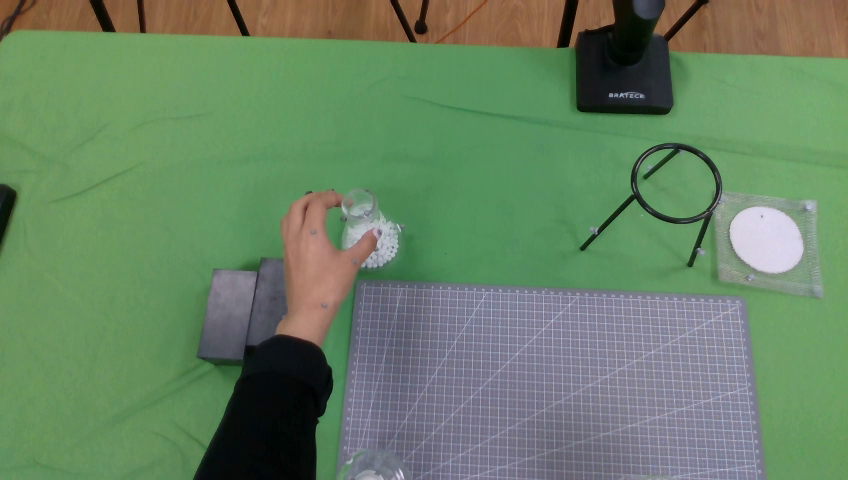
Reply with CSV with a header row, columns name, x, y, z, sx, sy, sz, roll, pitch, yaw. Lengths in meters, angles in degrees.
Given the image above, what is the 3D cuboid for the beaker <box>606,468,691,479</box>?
name,x,y,z,sx,sy,sz,roll,pitch,yaw
beaker,0.215,0.256,0.582,0.084,0.101,0.073,-29,72,-9

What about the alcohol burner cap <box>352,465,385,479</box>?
name,x,y,z,sx,sy,sz,roll,pitch,yaw
alcohol burner cap,-0.052,0.224,0.556,0.034,0.048,0.033,1,72,-3

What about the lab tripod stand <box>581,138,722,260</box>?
name,x,y,z,sx,sy,sz,roll,pitch,yaw
lab tripod stand,0.255,-0.040,0.670,0.148,0.132,0.147,-1,72,3

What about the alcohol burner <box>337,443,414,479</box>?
name,x,y,z,sx,sy,sz,roll,pitch,yaw
alcohol burner,-0.050,0.237,0.590,0.078,0.120,0.077,-1,69,4

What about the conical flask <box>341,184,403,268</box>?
name,x,y,z,sx,sy,sz,roll,pitch,yaw
conical flask,-0.065,-0.021,0.680,0.075,0.122,0.075,-1,70,3

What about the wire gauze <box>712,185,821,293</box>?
name,x,y,z,sx,sy,sz,roll,pitch,yaw
wire gauze,0.407,-0.005,0.719,0.125,0.011,0.121,8,71,3
